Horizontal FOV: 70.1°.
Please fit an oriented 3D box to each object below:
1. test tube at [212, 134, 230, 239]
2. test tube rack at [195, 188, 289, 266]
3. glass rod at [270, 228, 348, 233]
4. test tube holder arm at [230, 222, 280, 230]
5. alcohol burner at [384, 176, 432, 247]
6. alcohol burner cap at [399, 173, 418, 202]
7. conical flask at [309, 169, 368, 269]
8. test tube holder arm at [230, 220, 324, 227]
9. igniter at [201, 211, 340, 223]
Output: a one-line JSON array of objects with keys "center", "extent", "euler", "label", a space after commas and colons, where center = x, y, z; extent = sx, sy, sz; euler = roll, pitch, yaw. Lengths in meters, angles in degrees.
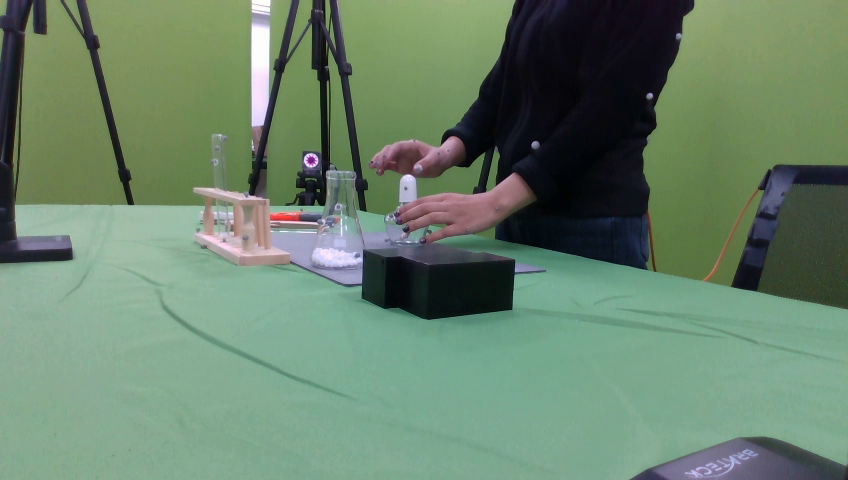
[{"center": [-0.290, -0.076, 0.863], "extent": [0.017, 0.150, 0.017], "euler": [-2, 6, 0], "label": "test tube"}, {"center": [-0.266, -0.025, 0.864], "extent": [0.067, 0.085, 0.241], "euler": [-2, 9, -33], "label": "test tube rack"}, {"center": [-0.234, -0.017, 1.105], "extent": [0.201, 0.008, 0.008], "euler": [1, 7, -26], "label": "glass rod"}, {"center": [-0.312, -0.025, 1.118], "extent": [0.088, 0.015, 0.010], "euler": [-1, 44, -30], "label": "test tube holder arm"}, {"center": [-0.026, -0.049, 0.993], "extent": [0.078, 0.119, 0.078], "euler": [3, 9, 0], "label": "alcohol burner"}, {"center": [-0.026, -0.085, 0.989], "extent": [0.034, 0.048, 0.034], "euler": [-2, 4, 0], "label": "alcohol burner cap"}, {"center": [-0.107, -0.028, 0.762], "extent": [0.075, 0.122, 0.075], "euler": [2, 7, 0], "label": "conical flask"}, {"center": [-0.275, -0.030, 1.145], "extent": [0.179, 0.015, 0.013], "euler": [-2, 45, -31], "label": "test tube holder arm"}, {"center": [-0.311, -0.048, 1.243], "extent": [0.278, 0.025, 0.057], "euler": [-1, -2, -24], "label": "igniter"}]
